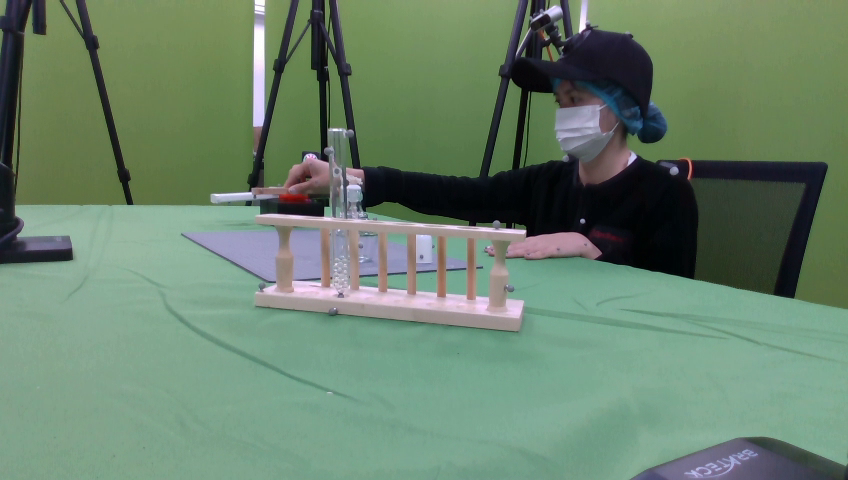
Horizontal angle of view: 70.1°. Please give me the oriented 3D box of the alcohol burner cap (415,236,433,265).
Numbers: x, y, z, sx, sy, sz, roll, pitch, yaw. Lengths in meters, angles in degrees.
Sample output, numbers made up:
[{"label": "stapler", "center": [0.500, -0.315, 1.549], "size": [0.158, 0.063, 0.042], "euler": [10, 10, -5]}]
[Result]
[{"label": "alcohol burner cap", "center": [-0.004, 0.011, 0.835], "size": [0.034, 0.048, 0.034], "euler": [2, 7, 0]}]

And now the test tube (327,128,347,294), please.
[{"label": "test tube", "center": [-0.079, -0.025, 0.545], "size": [0.017, 0.150, 0.017], "euler": [0, 9, 0]}]

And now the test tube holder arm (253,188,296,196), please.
[{"label": "test tube holder arm", "center": [-0.296, -0.095, 1.198], "size": [0.088, 0.015, 0.010], "euler": [-5, 17, -40]}]

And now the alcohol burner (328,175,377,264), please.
[{"label": "alcohol burner", "center": [-0.098, -0.028, 0.819], "size": [0.078, 0.119, 0.078], "euler": [1, 8, 0]}]

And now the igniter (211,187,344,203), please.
[{"label": "igniter", "center": [-0.299, -0.094, 1.266], "size": [0.278, 0.025, 0.057], "euler": [-6, 11, -34]}]

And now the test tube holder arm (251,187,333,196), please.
[{"label": "test tube holder arm", "center": [-0.265, -0.100, 1.231], "size": [0.179, 0.015, 0.013], "euler": [-5, 17, -40]}]

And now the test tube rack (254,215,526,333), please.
[{"label": "test tube rack", "center": [-0.030, 0.025, 0.558], "size": [0.242, 0.085, 0.067], "euler": [4, 7, 12]}]
